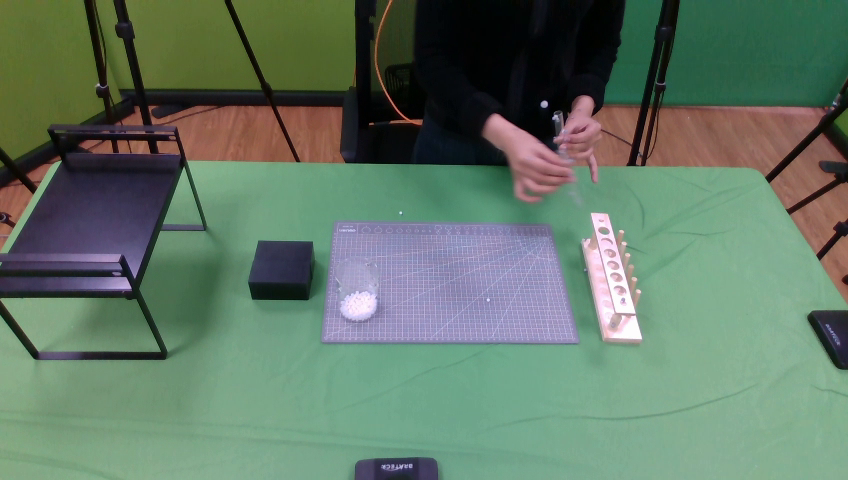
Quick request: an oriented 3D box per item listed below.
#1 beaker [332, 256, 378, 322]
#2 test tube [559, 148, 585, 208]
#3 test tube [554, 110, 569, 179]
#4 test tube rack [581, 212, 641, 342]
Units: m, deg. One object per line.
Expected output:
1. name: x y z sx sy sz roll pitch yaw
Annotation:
1. beaker: -0.114 0.089 1.047 0.083 0.101 0.074 30 52 21
2. test tube: 0.260 -0.107 1.064 0.017 0.151 0.017 -15 49 18
3. test tube: 0.259 -0.176 1.139 0.017 0.151 0.017 -10 41 9
4. test tube rack: 0.351 0.063 1.121 0.067 0.085 0.241 3 46 -1
